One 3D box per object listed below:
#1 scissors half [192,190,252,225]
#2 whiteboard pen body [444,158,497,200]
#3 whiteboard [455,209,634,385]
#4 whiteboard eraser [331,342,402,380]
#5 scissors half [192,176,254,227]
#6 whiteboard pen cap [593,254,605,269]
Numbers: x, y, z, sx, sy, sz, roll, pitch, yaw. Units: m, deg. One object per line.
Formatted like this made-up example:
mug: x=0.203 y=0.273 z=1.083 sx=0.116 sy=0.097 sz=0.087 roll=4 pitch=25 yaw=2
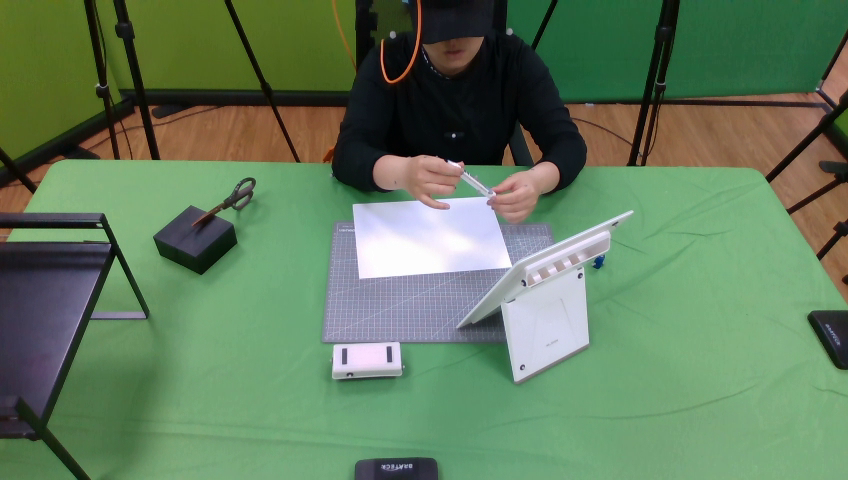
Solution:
scissors half: x=-0.393 y=-0.060 z=1.187 sx=0.013 sy=0.040 sz=0.175 roll=25 pitch=29 yaw=12
whiteboard pen body: x=0.082 y=-0.108 z=1.073 sx=0.141 sy=0.017 sz=0.017 roll=32 pitch=32 yaw=-36
whiteboard: x=0.211 y=0.111 z=0.955 sx=0.217 sy=0.306 sz=0.143 roll=-21 pitch=71 yaw=-23
whiteboard eraser: x=-0.094 y=0.198 z=0.986 sx=0.113 sy=0.042 sz=0.055 roll=-2 pitch=44 yaw=-6
scissors half: x=-0.388 y=-0.075 z=1.174 sx=0.013 sy=0.040 sz=0.174 roll=29 pitch=47 yaw=8
whiteboard pen cap: x=0.341 y=0.041 z=1.179 sx=0.018 sy=0.033 sz=0.018 roll=1 pitch=46 yaw=-1
